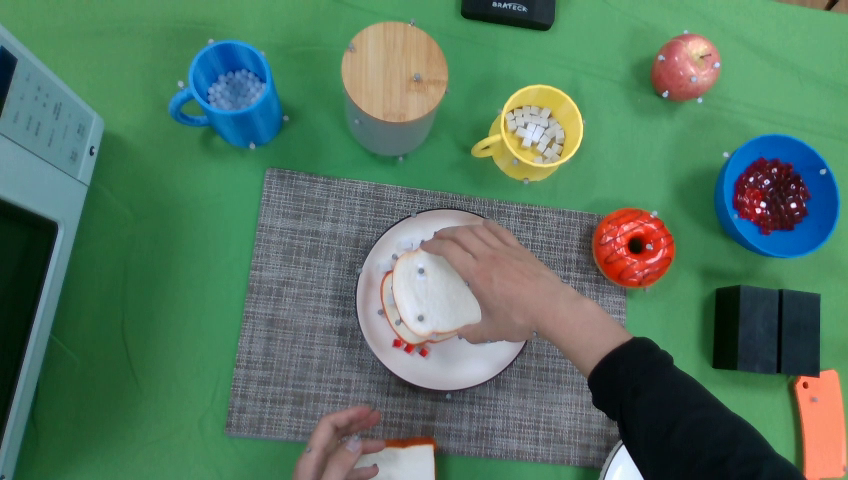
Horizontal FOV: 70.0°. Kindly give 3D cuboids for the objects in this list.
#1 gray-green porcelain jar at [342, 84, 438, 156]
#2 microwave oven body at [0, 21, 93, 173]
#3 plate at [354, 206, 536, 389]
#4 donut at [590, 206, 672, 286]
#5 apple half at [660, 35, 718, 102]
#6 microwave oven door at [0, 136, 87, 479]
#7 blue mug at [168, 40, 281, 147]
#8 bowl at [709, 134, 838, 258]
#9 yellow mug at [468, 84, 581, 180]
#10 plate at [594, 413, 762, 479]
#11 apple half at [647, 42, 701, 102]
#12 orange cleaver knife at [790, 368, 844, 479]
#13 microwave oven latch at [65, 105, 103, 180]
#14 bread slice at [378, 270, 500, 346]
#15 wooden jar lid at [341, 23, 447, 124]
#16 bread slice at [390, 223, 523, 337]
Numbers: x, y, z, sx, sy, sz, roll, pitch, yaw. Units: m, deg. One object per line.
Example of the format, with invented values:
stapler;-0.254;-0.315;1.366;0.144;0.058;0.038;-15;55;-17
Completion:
gray-green porcelain jar;-0.039;-0.158;0.682;0.106;0.126;0.105;1;81;-7
microwave oven body;-0.537;0.021;0.517;0.327;0.260;0.440;11;81;-6
plate;0.024;0.065;0.698;0.208;0.039;0.207;1;81;-7
donut;0.248;0.007;0.732;0.099;0.048;0.098;1;82;-7
apple half;0.336;-0.219;0.767;0.053;0.075;0.080;-25;81;-16
microwave oven door;-0.400;0.089;0.520;0.039;0.244;0.354;10;80;-5
blue mug;-0.220;-0.153;0.668;0.117;0.106;0.082;-18;83;-9
bowl;0.413;-0.047;0.748;0.152;0.077;0.151;1;82;-7
yellow mug;0.116;-0.123;0.728;0.131;0.064;0.099;-16;84;-9
plate;0.289;0.304;0.699;0.209;0.038;0.208;1;81;-7
apple half;0.303;-0.202;0.758;0.033;0.081;0.081;-26;85;-15
orange cleaver knife;0.482;0.261;0.741;0.077;0.012;0.210;9;79;-12
microwave oven latch;-0.374;-0.108;0.656;0.030;0.029;0.079;13;81;-6
bread slice;0.015;0.065;0.697;0.132;0.019;0.104;-19;84;-10
wooden jar lid;-0.031;-0.169;0.621;0.108;0.021;0.108;1;79;-7
bread slice;0.031;0.050;0.654;0.134;0.018;0.106;-16;80;-11
